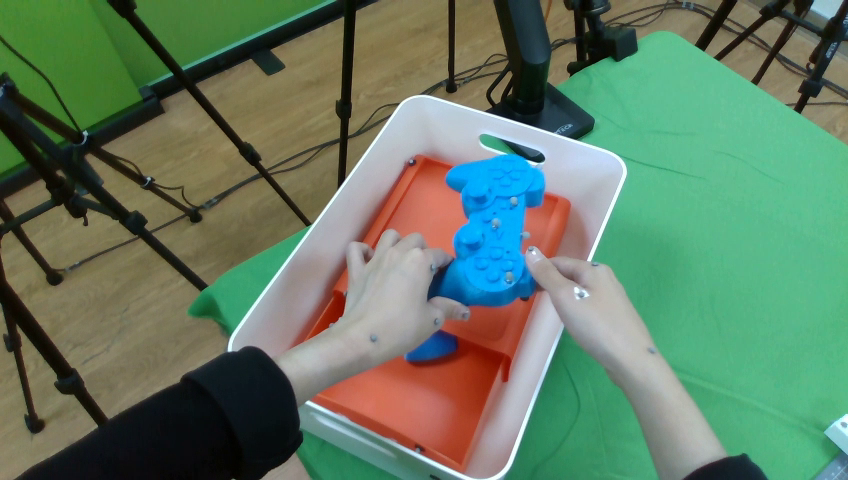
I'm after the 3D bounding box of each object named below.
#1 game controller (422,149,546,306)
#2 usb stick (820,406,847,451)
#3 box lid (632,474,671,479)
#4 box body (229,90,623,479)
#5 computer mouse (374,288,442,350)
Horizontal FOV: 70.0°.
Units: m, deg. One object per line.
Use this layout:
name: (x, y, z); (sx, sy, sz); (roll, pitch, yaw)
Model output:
game controller: (0.054, -0.016, 0.528); (0.097, 0.052, 0.154); (4, 60, 13)
usb stick: (0.420, 0.192, 0.585); (0.021, 0.027, 0.058); (-28, 63, -22)
box lid: (0.170, 0.397, 0.478); (0.263, 0.015, 0.367); (-16, 58, -8)
box body: (0.020, 0.047, 0.625); (0.253, 0.162, 0.362); (21, 59, 15)
computer mouse: (-0.016, 0.080, 0.665); (0.063, 0.041, 0.116); (-4, 17, 9)
